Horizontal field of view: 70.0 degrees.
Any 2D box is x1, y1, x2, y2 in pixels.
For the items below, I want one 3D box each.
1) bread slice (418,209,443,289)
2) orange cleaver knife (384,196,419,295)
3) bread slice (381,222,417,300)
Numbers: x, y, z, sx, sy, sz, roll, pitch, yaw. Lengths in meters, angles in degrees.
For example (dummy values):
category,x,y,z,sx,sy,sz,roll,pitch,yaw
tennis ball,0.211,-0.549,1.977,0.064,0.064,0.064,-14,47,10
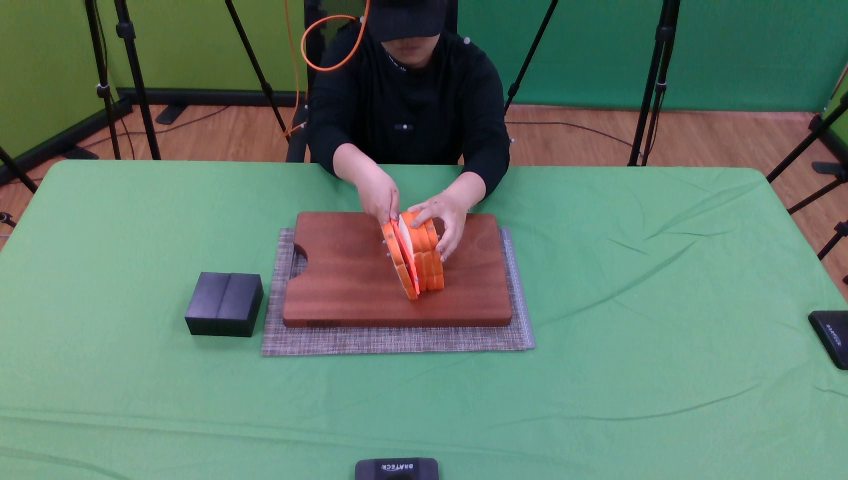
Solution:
category,x,y,z,sx,sy,sz,roll,pitch,yaw
bread slice,0.010,0.012,1.076,0.018,0.135,0.106,-14,50,-7
orange cleaver knife,-0.042,0.007,1.102,0.012,0.077,0.210,-13,49,-10
bread slice,-0.046,0.031,1.054,0.019,0.132,0.104,-21,48,-2
